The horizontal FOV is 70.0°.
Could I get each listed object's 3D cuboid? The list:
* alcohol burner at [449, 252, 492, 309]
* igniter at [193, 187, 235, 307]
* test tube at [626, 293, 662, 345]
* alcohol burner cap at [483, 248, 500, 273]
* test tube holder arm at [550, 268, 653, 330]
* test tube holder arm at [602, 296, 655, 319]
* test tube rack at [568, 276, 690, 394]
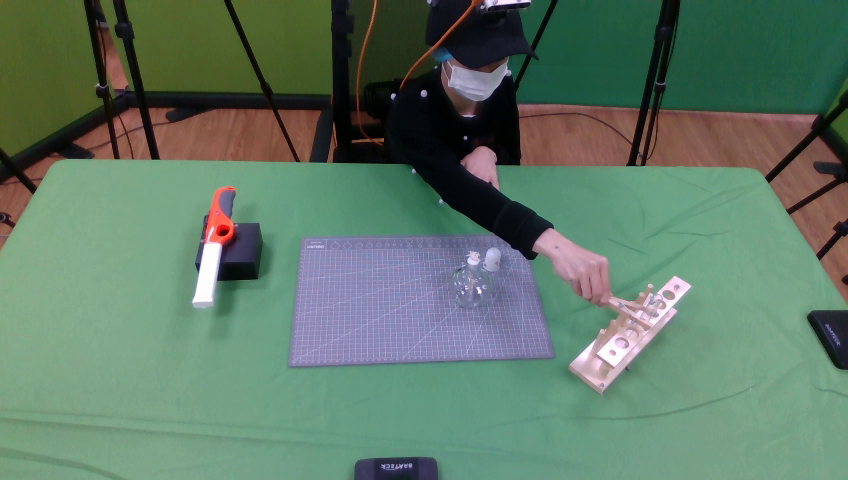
[{"bbox_3d":[0.084,0.066,1.074,0.078,0.120,0.077,1,44,-1],"label":"alcohol burner"},{"bbox_3d":[-0.378,0.003,1.096,0.057,0.025,0.274,-1,49,-6],"label":"igniter"},{"bbox_3d":[0.355,0.133,0.984,0.017,0.151,0.017,1,52,-1],"label":"test tube"},{"bbox_3d":[0.130,0.037,1.156,0.034,0.048,0.033,1,46,-1],"label":"alcohol burner cap"},{"bbox_3d":[0.287,0.095,0.987,0.178,0.015,0.013,29,49,14],"label":"test tube holder arm"},{"bbox_3d":[0.329,0.109,0.983,0.088,0.015,0.010,15,48,3],"label":"test tube holder arm"},{"bbox_3d":[0.354,0.149,1.039,0.242,0.085,0.066,-34,56,-31],"label":"test tube rack"}]
